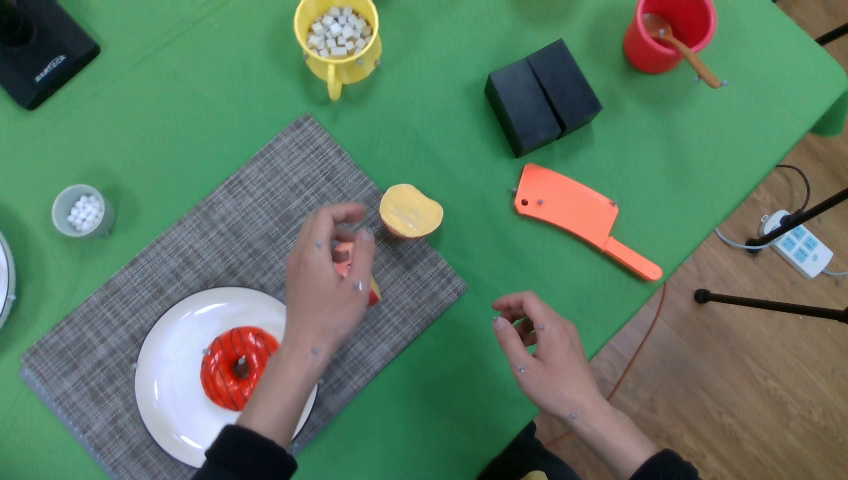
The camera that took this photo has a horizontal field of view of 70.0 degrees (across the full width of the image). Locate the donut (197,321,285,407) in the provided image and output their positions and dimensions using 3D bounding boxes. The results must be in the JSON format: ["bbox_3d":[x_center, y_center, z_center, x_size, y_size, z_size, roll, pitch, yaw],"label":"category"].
[{"bbox_3d":[-0.208,0.142,0.692,0.099,0.048,0.099,0,85,-2],"label":"donut"}]

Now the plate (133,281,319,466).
[{"bbox_3d":[-0.225,0.151,0.701,0.209,0.038,0.208,0,83,-1],"label":"plate"}]

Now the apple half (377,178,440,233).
[{"bbox_3d":[-0.024,-0.033,0.730,0.081,0.033,0.080,11,50,-14],"label":"apple half"}]

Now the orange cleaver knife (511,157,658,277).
[{"bbox_3d":[0.203,-0.030,0.750,0.211,0.012,0.077,31,78,3],"label":"orange cleaver knife"}]

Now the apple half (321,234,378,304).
[{"bbox_3d":[-0.091,0.039,0.702,0.053,0.075,0.080,-24,88,-1],"label":"apple half"}]

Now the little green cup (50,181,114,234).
[{"bbox_3d":[-0.405,-0.036,0.723,0.061,0.039,0.061,0,83,-1],"label":"little green cup"}]

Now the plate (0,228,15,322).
[{"bbox_3d":[-0.580,0.048,0.708,0.208,0.039,0.207,0,83,-2],"label":"plate"}]

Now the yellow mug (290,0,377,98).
[{"bbox_3d":[-0.110,-0.239,0.743,0.100,0.064,0.130,4,84,-1],"label":"yellow mug"}]

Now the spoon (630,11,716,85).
[{"bbox_3d":[0.293,-0.230,0.715,0.041,0.022,0.191,-8,38,-2],"label":"spoon"}]
